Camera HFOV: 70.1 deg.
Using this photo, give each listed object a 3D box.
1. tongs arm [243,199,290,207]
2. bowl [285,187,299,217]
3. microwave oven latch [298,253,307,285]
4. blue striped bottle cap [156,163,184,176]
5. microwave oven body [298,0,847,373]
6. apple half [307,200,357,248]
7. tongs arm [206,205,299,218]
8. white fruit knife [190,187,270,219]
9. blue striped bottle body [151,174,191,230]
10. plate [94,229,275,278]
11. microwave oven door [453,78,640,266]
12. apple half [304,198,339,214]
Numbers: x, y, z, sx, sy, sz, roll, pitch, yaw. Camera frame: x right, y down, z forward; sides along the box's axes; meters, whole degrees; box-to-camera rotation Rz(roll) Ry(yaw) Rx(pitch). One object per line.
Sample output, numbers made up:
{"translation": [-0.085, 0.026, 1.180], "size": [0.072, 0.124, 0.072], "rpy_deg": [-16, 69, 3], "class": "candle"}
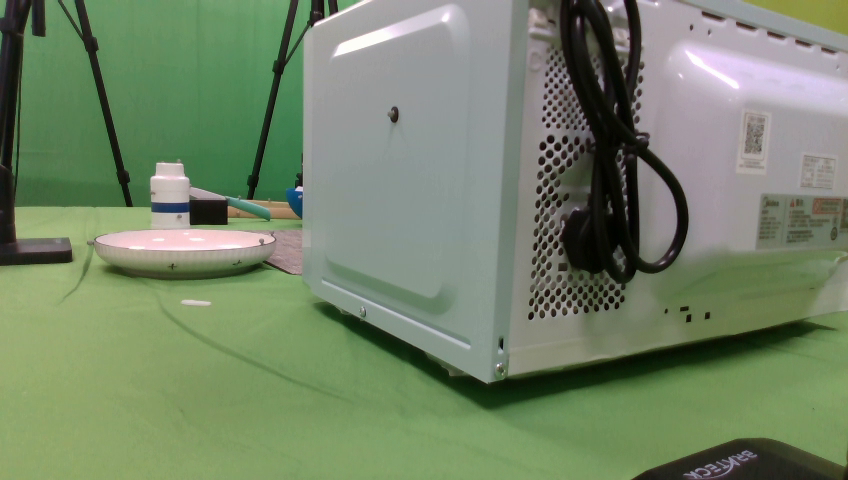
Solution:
{"translation": [-0.309, -0.079, 1.487], "size": [0.385, 0.026, 0.050], "rpy_deg": [3, 7, -1], "class": "tongs arm"}
{"translation": [-0.217, -0.069, 1.274], "size": [0.151, 0.077, 0.151], "rpy_deg": [2, 8, 0], "class": "bowl"}
{"translation": [-0.082, 0.027, 0.582], "size": [0.079, 0.029, 0.030], "rpy_deg": [-1, 7, -33], "class": "microwave oven latch"}
{"translation": [-0.438, -0.122, 1.045], "size": [0.044, 0.020, 0.044], "rpy_deg": [5, 6, 0], "class": "blue striped bottle cap"}
{"translation": [0.151, -0.055, 0.543], "size": [0.444, 0.260, 0.324], "rpy_deg": [-1, 7, -33], "class": "microwave oven body"}
{"translation": [-0.136, -0.024, 0.942], "size": [0.053, 0.074, 0.081], "rpy_deg": [15, 10, 38], "class": "apple half"}
{"translation": [-0.302, -0.065, 1.407], "size": [0.389, 0.028, 0.028], "rpy_deg": [1, 4, -15], "class": "tongs arm"}
{"translation": [-0.413, -0.081, 1.270], "size": [0.208, 0.027, 0.016], "rpy_deg": [17, 13, -41], "class": "white fruit knife"}
{"translation": [-0.439, -0.071, 1.052], "size": [0.063, 0.120, 0.063], "rpy_deg": [2, 7, 0], "class": "blue striped bottle body"}
{"translation": [-0.291, 0.016, 0.749], "size": [0.208, 0.039, 0.207], "rpy_deg": [2, 7, 0], "class": "plate"}
{"translation": [0.164, -0.106, 0.918], "size": [0.039, 0.243, 0.354], "rpy_deg": [-2, 8, -32], "class": "microwave oven door"}
{"translation": [-0.217, -0.073, 1.274], "size": [0.081, 0.033, 0.081], "rpy_deg": [2, 9, 0], "class": "apple half"}
